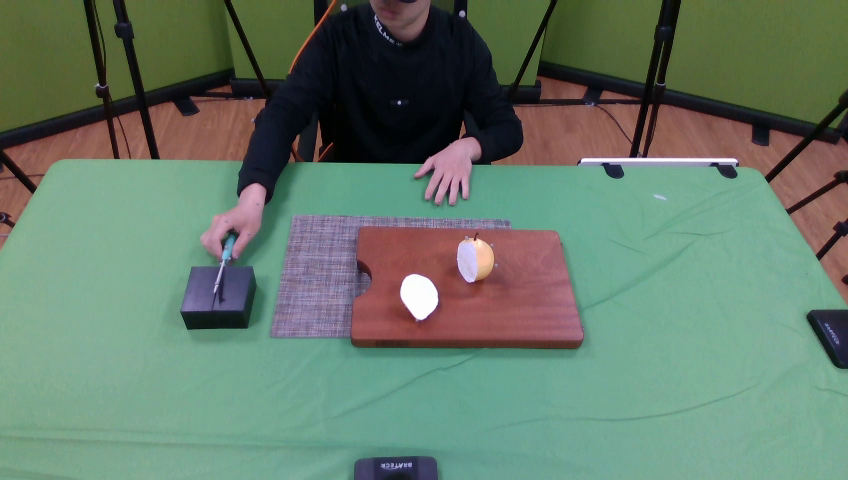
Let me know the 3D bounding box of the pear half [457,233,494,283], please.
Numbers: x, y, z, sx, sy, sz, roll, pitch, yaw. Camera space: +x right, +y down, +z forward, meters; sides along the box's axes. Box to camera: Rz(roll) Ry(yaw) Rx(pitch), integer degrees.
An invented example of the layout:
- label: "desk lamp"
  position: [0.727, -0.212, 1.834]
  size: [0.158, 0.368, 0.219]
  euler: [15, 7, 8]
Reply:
- label: "pear half"
  position: [0.098, 0.023, 1.087]
  size: [0.056, 0.110, 0.076]
  euler: [-22, 55, -24]

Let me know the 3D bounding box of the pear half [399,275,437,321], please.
- label: "pear half"
  position: [-0.013, 0.104, 1.051]
  size: [0.070, 0.031, 0.087]
  euler: [11, 58, -15]

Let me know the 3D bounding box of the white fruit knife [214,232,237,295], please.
- label: "white fruit knife"
  position: [-0.359, 0.038, 1.092]
  size: [0.016, 0.027, 0.206]
  euler: [3, 29, -10]
